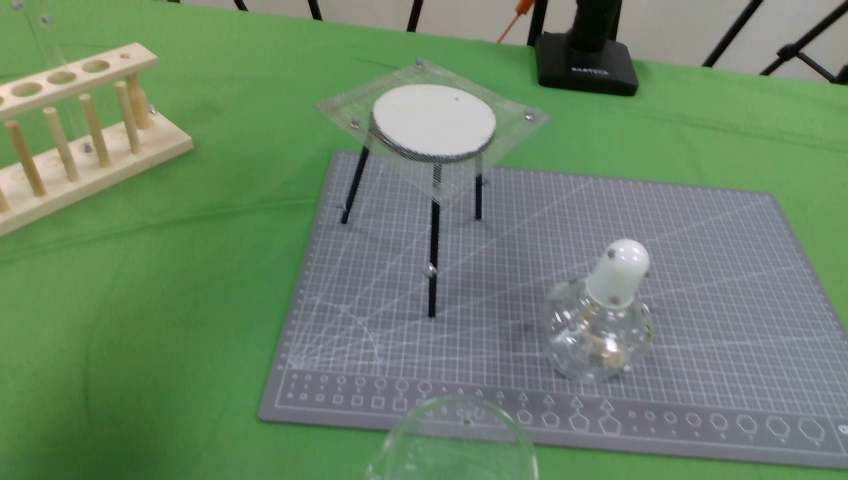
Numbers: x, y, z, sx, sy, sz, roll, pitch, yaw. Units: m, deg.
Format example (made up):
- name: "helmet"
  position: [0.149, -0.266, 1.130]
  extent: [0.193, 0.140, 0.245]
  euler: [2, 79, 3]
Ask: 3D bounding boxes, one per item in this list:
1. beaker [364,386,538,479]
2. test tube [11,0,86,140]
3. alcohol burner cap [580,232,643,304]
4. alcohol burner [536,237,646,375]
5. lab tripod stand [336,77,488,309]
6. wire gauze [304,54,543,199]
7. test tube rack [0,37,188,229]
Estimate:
- name: "beaker"
  position: [0.010, 0.137, 0.323]
  extent: [0.084, 0.101, 0.073]
  euler: [-2, 45, -7]
- name: "test tube"
  position: [-0.310, -0.148, 0.499]
  extent: [0.017, 0.151, 0.017]
  euler: [2, 43, -1]
- name: "alcohol burner cap"
  position: [0.123, 0.016, 0.391]
  extent: [0.034, 0.048, 0.033]
  euler: [3, 50, -4]
- name: "alcohol burner"
  position: [0.120, 0.040, 0.418]
  extent: [0.078, 0.120, 0.077]
  euler: [5, 44, -5]
- name: "lab tripod stand"
  position: [-0.002, -0.043, 0.469]
  extent: [0.148, 0.132, 0.147]
  euler: [5, 46, -5]
- name: "wire gauze"
  position: [0.001, -0.089, 0.420]
  extent: [0.124, 0.011, 0.121]
  euler: [36, 53, 24]
- name: "test tube rack"
  position: [-0.328, -0.080, 0.500]
  extent: [0.066, 0.086, 0.242]
  euler: [35, 51, 25]
